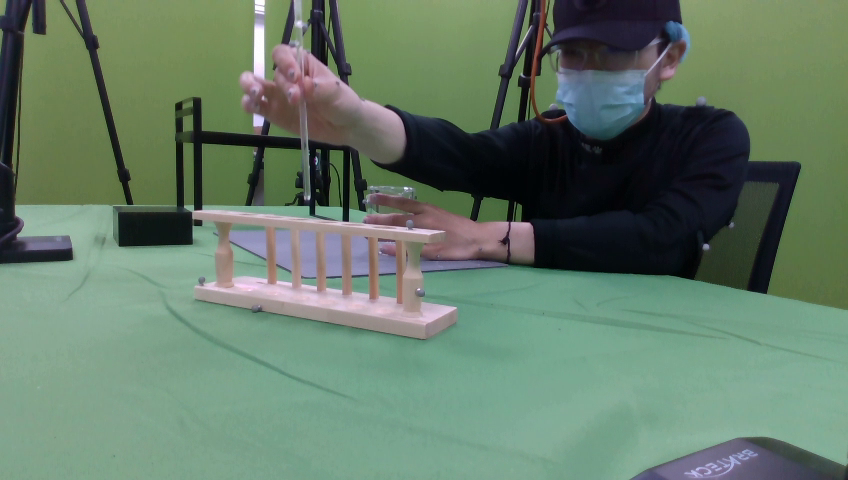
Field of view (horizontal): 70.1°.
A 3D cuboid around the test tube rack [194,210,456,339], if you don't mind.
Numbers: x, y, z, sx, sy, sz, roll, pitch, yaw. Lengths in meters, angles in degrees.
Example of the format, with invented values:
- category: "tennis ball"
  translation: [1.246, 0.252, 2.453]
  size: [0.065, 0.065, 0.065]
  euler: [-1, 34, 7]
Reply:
- category: "test tube rack"
  translation: [-0.093, 0.023, 0.546]
  size: [0.241, 0.085, 0.067]
  euler: [6, 8, 25]

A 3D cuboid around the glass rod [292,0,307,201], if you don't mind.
- category: "glass rod"
  translation: [-0.117, -0.133, 0.568]
  size: [0.008, 0.199, 0.008]
  euler: [-4, -8, 0]

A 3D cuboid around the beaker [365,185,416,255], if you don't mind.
- category: "beaker"
  translation: [-0.050, -0.030, 0.904]
  size: [0.074, 0.100, 0.083]
  euler: [-1, 7, -22]
